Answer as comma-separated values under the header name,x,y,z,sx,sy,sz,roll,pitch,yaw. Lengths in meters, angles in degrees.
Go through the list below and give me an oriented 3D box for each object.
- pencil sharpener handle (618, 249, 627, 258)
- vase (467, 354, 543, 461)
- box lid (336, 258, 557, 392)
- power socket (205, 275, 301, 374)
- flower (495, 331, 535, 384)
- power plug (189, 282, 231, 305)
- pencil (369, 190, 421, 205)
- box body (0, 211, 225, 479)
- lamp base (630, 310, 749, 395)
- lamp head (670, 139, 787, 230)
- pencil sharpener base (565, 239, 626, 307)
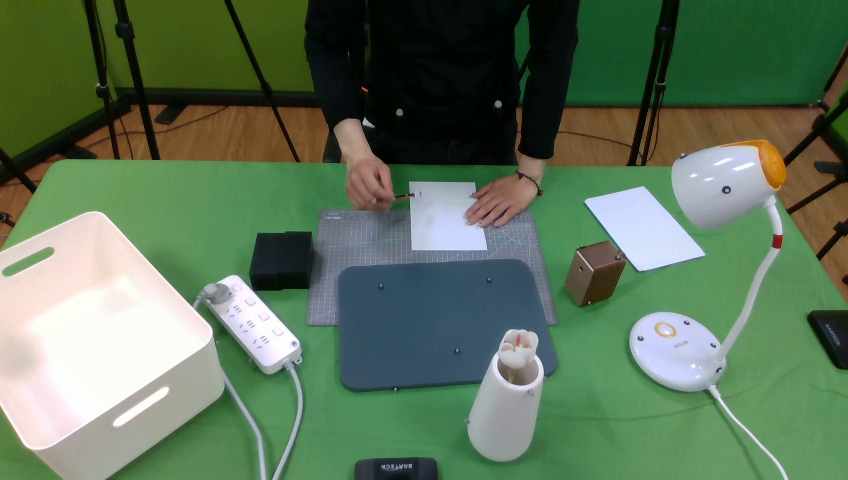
name,x,y,z,sx,sy,sz,roll,pitch,yaw
pencil sharpener handle,0.359,0.036,1.113,0.031,0.068,0.036,-15,61,-18
vase,0.116,0.234,0.861,0.098,0.201,0.097,1,47,-1
box lid,0.030,0.140,1.073,0.372,0.015,0.261,-3,47,-7
power socket,-0.296,0.140,1.035,0.072,0.033,0.225,-32,57,-29
flower,0.110,0.187,0.791,0.044,0.363,0.038,-32,65,-10
power plug,-0.368,0.097,1.039,0.072,0.053,0.035,-26,55,-20
pencil,-0.053,-0.081,1.157,0.012,0.012,0.194,27,21,21
box body,-0.504,0.154,0.916,0.362,0.161,0.254,36,54,27
lamp base,0.447,0.142,0.984,0.161,0.181,0.178,-24,55,-24
lamp head,0.415,-0.079,0.812,0.113,0.123,0.112,13,70,-37
pencil sharpener base,0.313,0.060,1.104,0.077,0.107,0.061,-15,49,-18
